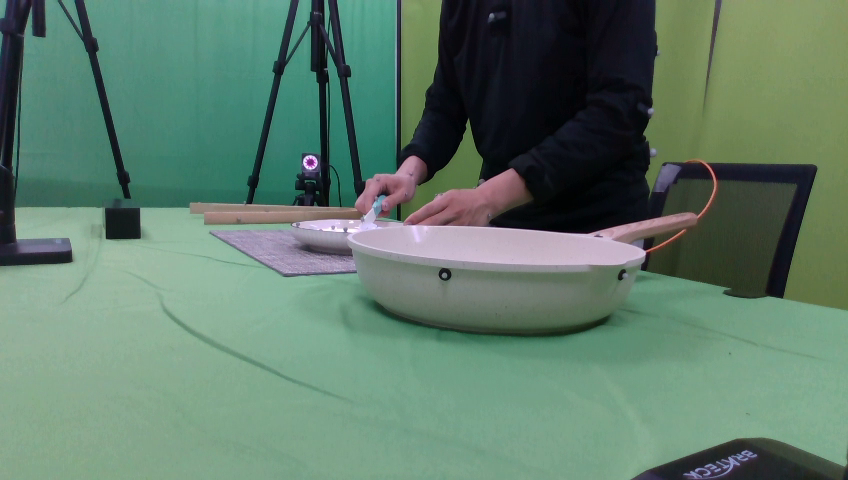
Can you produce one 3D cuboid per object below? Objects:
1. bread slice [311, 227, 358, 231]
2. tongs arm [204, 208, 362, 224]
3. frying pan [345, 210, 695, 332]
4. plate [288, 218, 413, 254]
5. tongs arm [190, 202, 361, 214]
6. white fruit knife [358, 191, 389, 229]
[{"bbox_3d":[-0.115,-0.005,0.950,0.134,0.018,0.107,3,6,-7],"label":"bread slice"},{"bbox_3d":[-0.292,-0.054,1.337,0.390,0.028,0.028,-4,7,-40],"label":"tongs arm"},{"bbox_3d":[0.153,0.009,0.668,0.490,0.102,0.305,-12,15,-32],"label":"frying pan"},{"bbox_3d":[-0.109,-0.007,0.956,0.208,0.039,0.207,2,7,0],"label":"plate"},{"bbox_3d":[-0.334,-0.068,1.403,0.387,0.026,0.050,0,9,-28],"label":"tongs arm"},{"bbox_3d":[-0.082,-0.050,0.992,0.016,0.027,0.207,-3,17,8],"label":"white fruit knife"}]
